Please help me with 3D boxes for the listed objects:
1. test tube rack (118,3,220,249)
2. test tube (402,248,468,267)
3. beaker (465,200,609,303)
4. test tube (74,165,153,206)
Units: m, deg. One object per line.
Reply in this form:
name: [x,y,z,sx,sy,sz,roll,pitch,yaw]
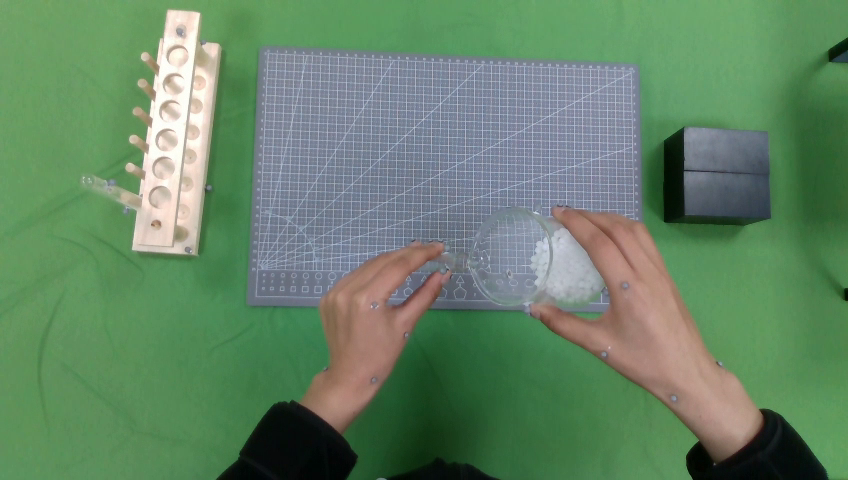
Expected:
test tube rack: [-0.273,-0.117,0.640,0.067,0.085,0.241,5,83,-4]
test tube: [0.006,0.016,0.550,0.017,0.149,0.017,1,88,-18]
beaker: [0.092,0.014,0.480,0.101,0.083,0.073,9,77,-45]
test tube: [-0.296,-0.049,0.586,0.017,0.150,0.017,0,84,-4]
